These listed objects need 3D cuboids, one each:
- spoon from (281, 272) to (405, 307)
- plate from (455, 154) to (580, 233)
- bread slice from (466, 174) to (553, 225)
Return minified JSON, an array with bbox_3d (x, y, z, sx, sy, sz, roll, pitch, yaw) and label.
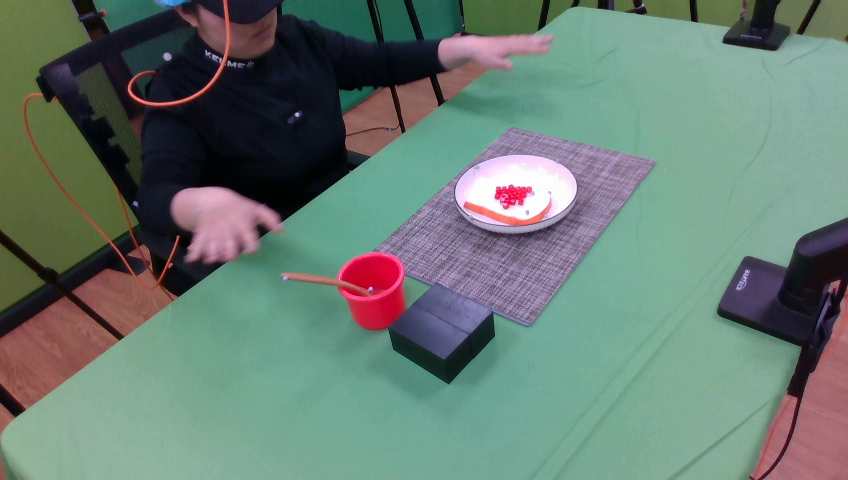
[{"bbox_3d":[-0.108,0.065,0.836,0.195,0.021,0.041,20,22,-37],"label":"spoon"},{"bbox_3d":[0.158,-0.076,1.028,0.209,0.038,0.208,-5,40,5],"label":"plate"},{"bbox_3d":[0.152,-0.067,1.022,0.130,0.019,0.105,23,50,33],"label":"bread slice"}]
